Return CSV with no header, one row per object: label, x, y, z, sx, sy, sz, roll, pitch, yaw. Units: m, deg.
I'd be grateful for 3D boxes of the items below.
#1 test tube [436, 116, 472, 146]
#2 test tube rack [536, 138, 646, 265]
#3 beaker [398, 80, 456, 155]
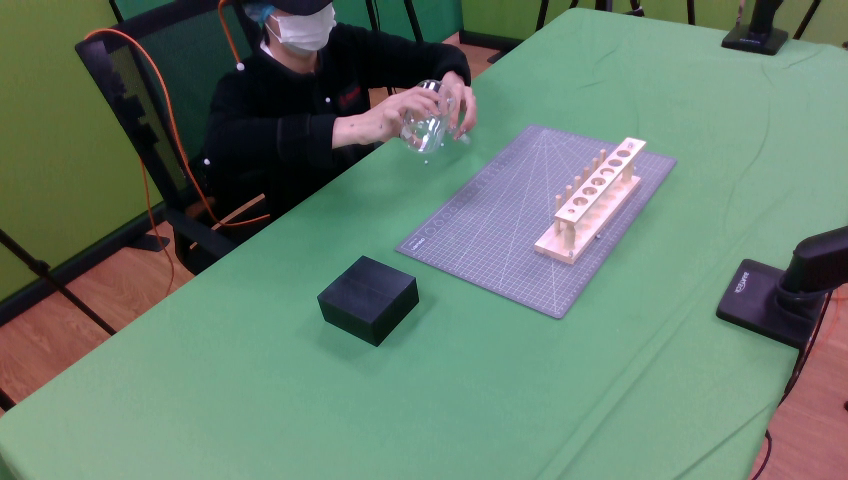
test tube,0.057,-0.194,1.087,0.017,0.151,0.017,-3,82,23
test tube rack,0.268,-0.071,0.964,0.066,0.085,0.243,23,49,32
beaker,0.004,-0.191,0.966,0.073,0.084,0.100,3,52,23
